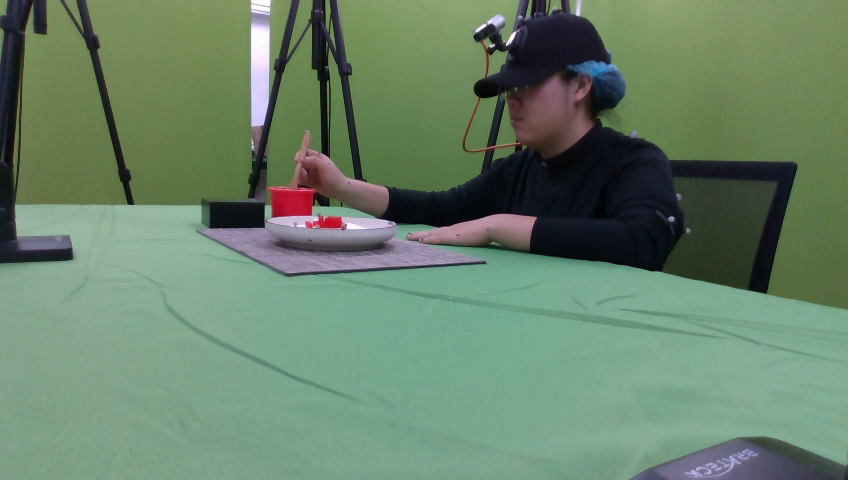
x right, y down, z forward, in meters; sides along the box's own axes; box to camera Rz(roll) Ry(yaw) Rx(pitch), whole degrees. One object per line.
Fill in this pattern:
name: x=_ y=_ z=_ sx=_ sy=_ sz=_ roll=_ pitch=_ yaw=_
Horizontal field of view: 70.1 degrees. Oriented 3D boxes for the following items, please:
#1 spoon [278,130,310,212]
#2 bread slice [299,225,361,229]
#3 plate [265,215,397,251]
spoon: x=-0.264 y=-0.146 z=1.263 sx=0.042 sy=0.193 sz=0.021 roll=18 pitch=-18 yaw=-16
bread slice: x=-0.154 y=-0.011 z=0.973 sx=0.132 sy=0.019 sz=0.104 roll=0 pitch=7 yaw=-31
plate: x=-0.147 y=-0.012 z=0.963 sx=0.209 sy=0.038 sz=0.209 roll=3 pitch=7 yaw=0
